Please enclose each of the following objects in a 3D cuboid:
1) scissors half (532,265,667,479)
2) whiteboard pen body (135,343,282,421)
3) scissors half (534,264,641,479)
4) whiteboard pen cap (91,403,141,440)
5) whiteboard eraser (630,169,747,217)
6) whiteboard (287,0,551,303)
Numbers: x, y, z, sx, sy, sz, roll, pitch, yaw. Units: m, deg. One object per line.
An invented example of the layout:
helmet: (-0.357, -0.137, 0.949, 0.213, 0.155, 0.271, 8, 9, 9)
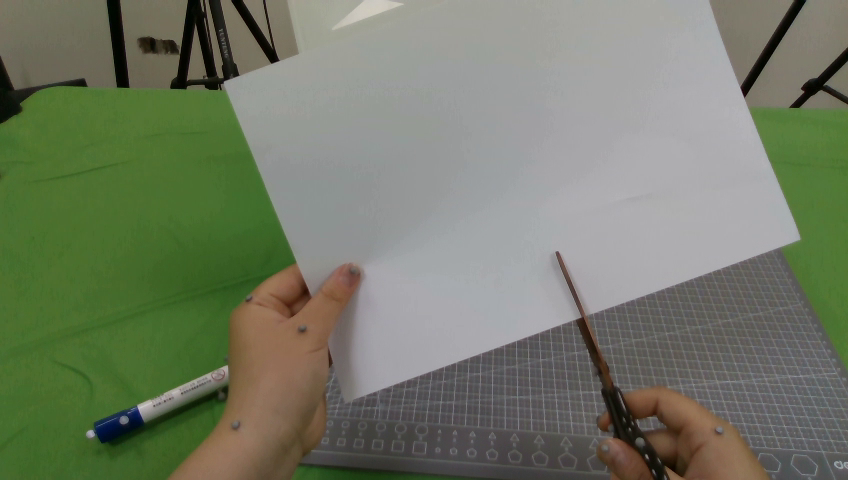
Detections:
scissors half: (0.104, 0.087, 0.351, 0.013, 0.040, 0.173, -29, 64, 6)
whiteboard pen body: (-0.179, 0.115, 0.478, 0.141, 0.017, 0.017, -22, 43, -27)
scissors half: (0.109, 0.092, 0.371, 0.013, 0.040, 0.174, -27, 84, 1)
whiteboard pen cap: (-0.228, 0.134, 0.452, 0.033, 0.018, 0.018, -24, 44, -27)
whiteboard eraser: (0.290, -0.052, 0.669, 0.113, 0.042, 0.055, 1, 41, 1)
whiteboard: (-0.014, -0.128, 0.606, 0.218, 0.307, 0.142, -15, 21, -17)
